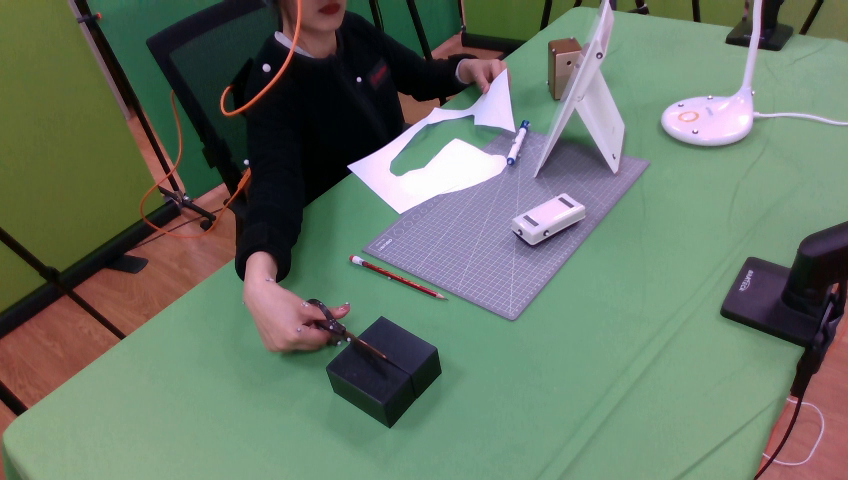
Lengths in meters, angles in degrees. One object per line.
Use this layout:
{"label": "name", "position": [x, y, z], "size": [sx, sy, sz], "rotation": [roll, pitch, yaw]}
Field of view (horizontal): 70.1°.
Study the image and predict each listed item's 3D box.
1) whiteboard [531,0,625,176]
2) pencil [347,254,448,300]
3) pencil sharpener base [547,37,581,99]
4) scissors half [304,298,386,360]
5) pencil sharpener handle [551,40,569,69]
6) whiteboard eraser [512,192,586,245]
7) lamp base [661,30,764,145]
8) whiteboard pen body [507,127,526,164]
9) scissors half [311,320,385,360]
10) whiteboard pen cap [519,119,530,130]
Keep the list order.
{"label": "whiteboard", "position": [0.320, -0.258, 1.050], "size": [0.144, 0.306, 0.217], "rotation": [22, 45, 5]}
{"label": "pencil", "position": [-0.044, 0.058, 0.933], "size": [0.192, 0.012, 0.012], "rotation": [22, 49, 28]}
{"label": "pencil sharpener base", "position": [0.300, -0.368, 1.290], "size": [0.061, 0.107, 0.076], "rotation": [-8, 40, 3]}
{"label": "scissors half", "position": [-0.107, 0.116, 0.790], "size": [0.013, 0.040, 0.173], "rotation": [-36, 43, -29]}
{"label": "pencil sharpener handle", "position": [0.291, -0.409, 1.320], "size": [0.036, 0.068, 0.030], "rotation": [3, 40, -7]}
{"label": "whiteboard eraser", "position": [0.199, -0.032, 0.962], "size": [0.113, 0.042, 0.055], "rotation": [-27, 43, -20]}
{"label": "lamp base", "position": [0.535, -0.287, 1.096], "size": [0.179, 0.181, 0.159], "rotation": [-10, 40, -4]}
{"label": "whiteboard pen body", "position": [0.181, -0.189, 1.162], "size": [0.017, 0.017, 0.140], "rotation": [7, 42, 19]}
{"label": "scissors half", "position": [-0.102, 0.134, 0.799], "size": [0.013, 0.040, 0.174], "rotation": [-30, 22, -32]}
{"label": "whiteboard pen cap", "position": [0.199, -0.226, 1.205], "size": [0.018, 0.018, 0.033], "rotation": [7, 42, 18]}
